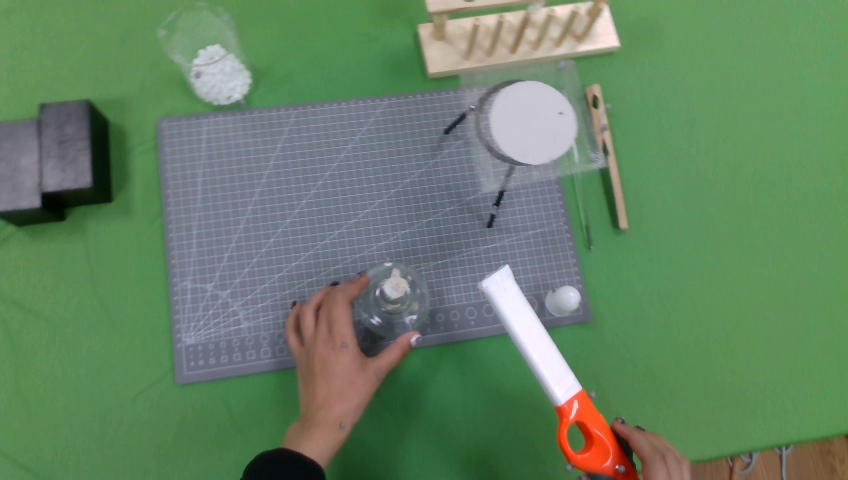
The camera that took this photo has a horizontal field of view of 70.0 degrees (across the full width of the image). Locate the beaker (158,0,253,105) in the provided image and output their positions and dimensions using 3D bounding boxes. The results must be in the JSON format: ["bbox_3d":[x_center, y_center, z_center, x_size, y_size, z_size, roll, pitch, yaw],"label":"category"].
[{"bbox_3d":[-0.233,-0.200,0.660,0.084,0.100,0.073,10,75,-2],"label":"beaker"}]

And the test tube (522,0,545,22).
[{"bbox_3d":[0.140,-0.291,0.674,0.017,0.150,0.017,3,74,-10],"label":"test tube"}]

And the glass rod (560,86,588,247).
[{"bbox_3d":[0.179,-0.089,0.721,0.008,0.008,0.199,-5,80,-7],"label":"glass rod"}]

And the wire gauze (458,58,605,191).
[{"bbox_3d":[0.101,-0.116,0.582,0.121,0.011,0.124,-10,77,-6],"label":"wire gauze"}]

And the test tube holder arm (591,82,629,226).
[{"bbox_3d":[0.220,-0.104,0.721,0.013,0.015,0.177,-16,77,26],"label":"test tube holder arm"}]

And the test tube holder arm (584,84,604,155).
[{"bbox_3d":[0.208,-0.146,0.733,0.010,0.015,0.087,-15,77,26],"label":"test tube holder arm"}]

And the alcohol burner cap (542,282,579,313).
[{"bbox_3d":[0.152,0.061,0.662,0.034,0.048,0.033,1,76,-5],"label":"alcohol burner cap"}]

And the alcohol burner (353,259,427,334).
[{"bbox_3d":[-0.034,0.053,0.609,0.078,0.119,0.077,1,74,-4],"label":"alcohol burner"}]

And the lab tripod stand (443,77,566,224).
[{"bbox_3d":[0.085,-0.103,0.647,0.148,0.132,0.147,1,77,-3],"label":"lab tripod stand"}]

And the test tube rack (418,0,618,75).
[{"bbox_3d":[0.120,-0.261,0.716,0.243,0.085,0.066,-10,77,-7],"label":"test tube rack"}]

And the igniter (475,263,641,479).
[{"bbox_3d":[0.130,0.145,0.537,0.057,0.025,0.276,-31,90,-18],"label":"igniter"}]
